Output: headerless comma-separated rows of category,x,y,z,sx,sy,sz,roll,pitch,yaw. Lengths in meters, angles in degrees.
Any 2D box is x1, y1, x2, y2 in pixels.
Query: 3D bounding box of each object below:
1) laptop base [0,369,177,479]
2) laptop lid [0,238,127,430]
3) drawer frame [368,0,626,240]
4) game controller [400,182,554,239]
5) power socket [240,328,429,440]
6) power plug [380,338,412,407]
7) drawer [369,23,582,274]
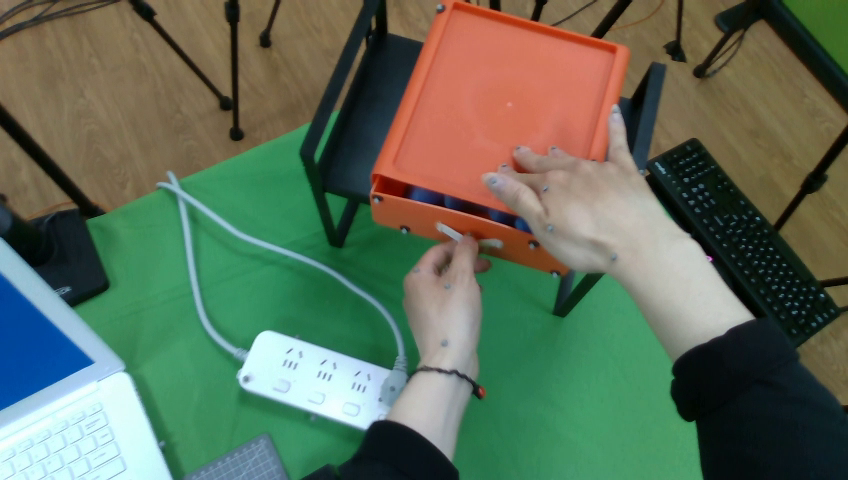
laptop base,-0.438,0.322,0.640,0.354,0.023,0.234,-28,75,-12
laptop lid,-0.517,0.149,0.589,0.357,0.244,0.013,-29,48,-11
drawer frame,0.074,-0.110,0.599,0.201,0.083,0.212,16,69,4
game controller,0.059,-0.050,0.592,0.155,0.052,0.096,19,74,7
power socket,-0.103,0.167,0.705,0.226,0.033,0.072,18,70,5
power plug,-0.023,0.155,0.689,0.035,0.053,0.072,28,69,9
drawer,0.071,-0.092,0.594,0.194,0.074,0.210,16,68,5
